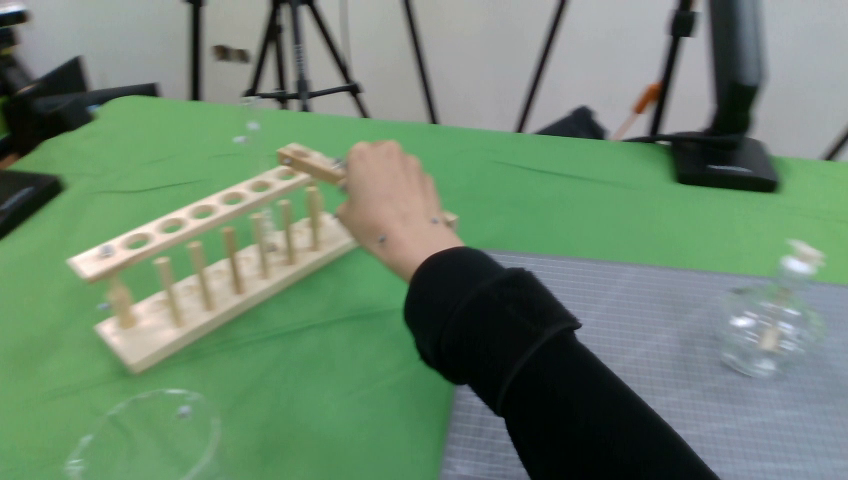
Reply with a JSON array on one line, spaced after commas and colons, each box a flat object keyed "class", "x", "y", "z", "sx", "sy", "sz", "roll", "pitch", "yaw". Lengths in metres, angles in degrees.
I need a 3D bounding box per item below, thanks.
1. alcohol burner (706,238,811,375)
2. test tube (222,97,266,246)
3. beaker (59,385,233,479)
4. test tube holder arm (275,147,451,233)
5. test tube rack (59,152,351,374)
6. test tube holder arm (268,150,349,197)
[{"class": "alcohol burner", "x": 0.270, "y": 0.049, "z": 0.481, "sx": 0.078, "sy": 0.120, "sz": 0.077, "roll": 0, "pitch": 36, "yaw": 0}, {"class": "test tube", "x": -0.165, "y": -0.058, "z": 0.561, "sx": 0.017, "sy": 0.151, "sz": 0.017, "roll": 0, "pitch": 35, "yaw": 1}, {"class": "beaker", "x": -0.155, "y": 0.148, "z": 0.359, "sx": 0.084, "sy": 0.101, "sz": 0.073, "roll": -9, "pitch": 38, "yaw": -12}, {"class": "test tube holder arm", "x": -0.055, "y": -0.043, "z": 0.490, "sx": 0.177, "sy": 0.015, "sz": 0.013, "roll": 22, "pitch": 47, "yaw": 25}, {"class": "test tube rack", "x": -0.181, "y": 0.010, "z": 0.554, "sx": 0.066, "sy": 0.086, "sz": 0.242, "roll": 30, "pitch": 46, "yaw": 32}, {"class": "test tube holder arm", "x": -0.095, "y": -0.056, "z": 0.505, "sx": 0.087, "sy": 0.015, "sz": 0.010, "roll": 22, "pitch": 47, "yaw": 24}]
